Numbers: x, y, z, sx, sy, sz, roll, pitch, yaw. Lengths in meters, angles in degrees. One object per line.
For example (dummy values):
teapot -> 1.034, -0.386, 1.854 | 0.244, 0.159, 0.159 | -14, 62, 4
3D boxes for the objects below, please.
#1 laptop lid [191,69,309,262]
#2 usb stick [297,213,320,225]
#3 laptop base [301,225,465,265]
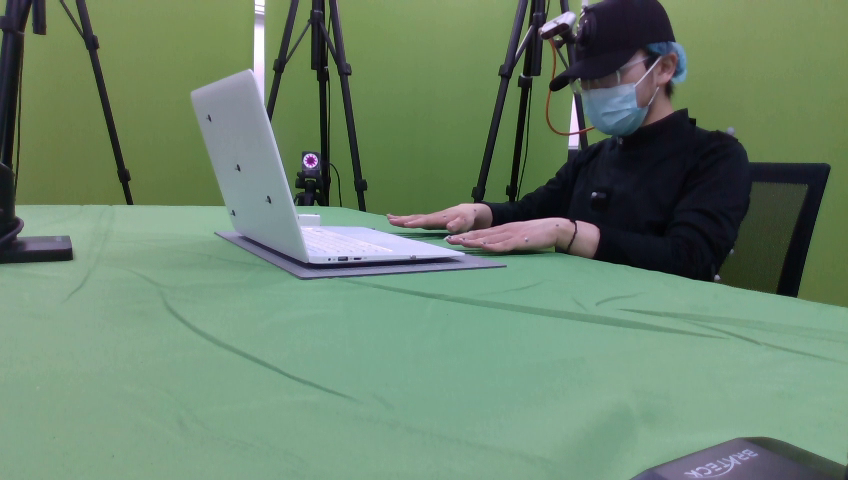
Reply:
laptop lid -> -0.254, -0.103, 0.842 | 0.013, 0.242, 0.355 | -22, 20, -27
usb stick -> -0.242, -0.040, 1.221 | 0.059, 0.027, 0.021 | -5, 11, -28
laptop base -> -0.128, 0.005, 0.937 | 0.237, 0.023, 0.352 | 2, 7, -32
